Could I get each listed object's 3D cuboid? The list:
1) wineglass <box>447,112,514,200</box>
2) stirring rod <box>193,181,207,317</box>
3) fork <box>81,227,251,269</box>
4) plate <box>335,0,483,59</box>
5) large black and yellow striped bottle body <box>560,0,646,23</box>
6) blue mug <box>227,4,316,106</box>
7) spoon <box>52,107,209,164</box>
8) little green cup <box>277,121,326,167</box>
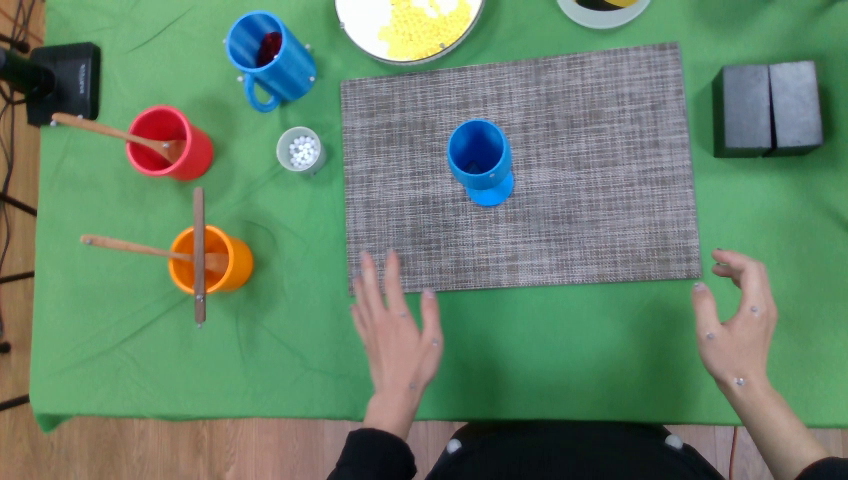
[{"bbox_3d":[0.070,-0.094,0.712,0.073,0.173,0.073,-1,84,10],"label":"wineglass"},{"bbox_3d":[-0.288,0.010,0.779,0.014,0.006,0.175,-4,84,10],"label":"stirring rod"},{"bbox_3d":[-0.329,0.010,0.789,0.209,0.018,0.028,13,93,-33],"label":"fork"},{"bbox_3d":[-0.018,-0.344,0.824,0.209,0.038,0.208,-1,85,10],"label":"plate"},{"bbox_3d":[0.221,-0.355,0.709,0.130,0.184,0.130,-1,84,10],"label":"large black and yellow striped bottle body"},{"bbox_3d":[-0.206,-0.237,0.813,0.082,0.106,0.116,17,88,11],"label":"blue mug"},{"bbox_3d":[-0.390,-0.145,0.817,0.195,0.021,0.041,16,88,-32],"label":"spoon"},{"bbox_3d":[-0.166,-0.129,0.829,0.061,0.039,0.061,-1,85,10],"label":"little green cup"}]
